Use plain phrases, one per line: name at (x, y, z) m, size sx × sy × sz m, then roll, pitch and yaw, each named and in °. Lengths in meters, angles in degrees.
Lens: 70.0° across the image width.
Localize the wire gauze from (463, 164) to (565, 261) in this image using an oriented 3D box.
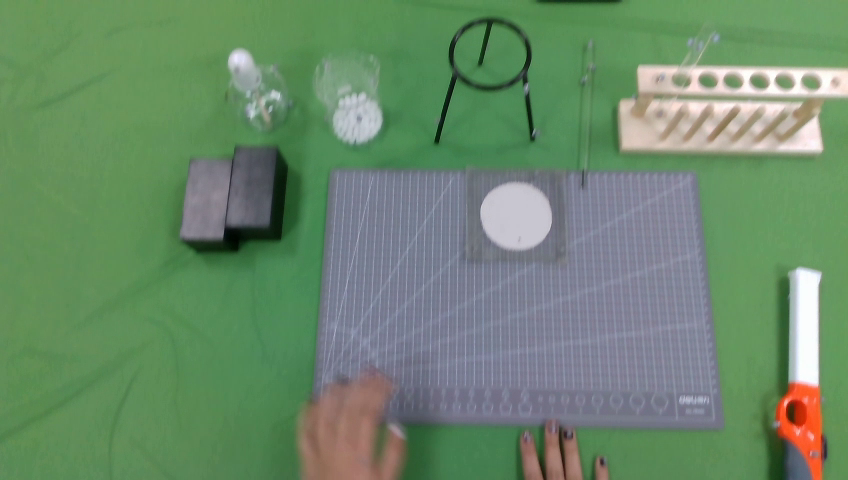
wire gauze at (0.107, -0.036, 0.730) m, size 0.125 × 0.011 × 0.120 m, roll 2°, pitch 72°, yaw 3°

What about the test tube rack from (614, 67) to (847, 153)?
test tube rack at (0.361, -0.153, 0.722) m, size 0.242 × 0.085 × 0.066 m, roll 1°, pitch 73°, yaw 2°

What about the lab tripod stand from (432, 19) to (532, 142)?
lab tripod stand at (0.068, -0.184, 0.713) m, size 0.148 × 0.132 × 0.147 m, roll -1°, pitch 72°, yaw 3°

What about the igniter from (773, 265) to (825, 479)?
igniter at (0.407, 0.161, 0.656) m, size 0.057 × 0.025 × 0.275 m, roll 13°, pitch 74°, yaw -6°

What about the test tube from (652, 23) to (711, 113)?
test tube at (0.287, -0.188, 0.683) m, size 0.017 × 0.151 × 0.017 m, roll -1°, pitch 69°, yaw 2°

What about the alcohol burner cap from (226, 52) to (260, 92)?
alcohol burner cap at (-0.209, -0.195, 0.694) m, size 0.034 × 0.048 × 0.033 m, roll 1°, pitch 75°, yaw -2°

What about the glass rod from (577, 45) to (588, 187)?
glass rod at (0.201, -0.160, 0.767) m, size 0.008 × 0.008 × 0.198 m, roll 6°, pitch 75°, yaw 3°

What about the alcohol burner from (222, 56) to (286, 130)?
alcohol burner at (-0.209, -0.184, 0.729) m, size 0.078 × 0.120 × 0.077 m, roll 0°, pitch 71°, yaw 1°

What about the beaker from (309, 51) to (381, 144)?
beaker at (-0.089, -0.168, 0.729) m, size 0.084 × 0.101 × 0.073 m, roll -37°, pitch 76°, yaw -10°
